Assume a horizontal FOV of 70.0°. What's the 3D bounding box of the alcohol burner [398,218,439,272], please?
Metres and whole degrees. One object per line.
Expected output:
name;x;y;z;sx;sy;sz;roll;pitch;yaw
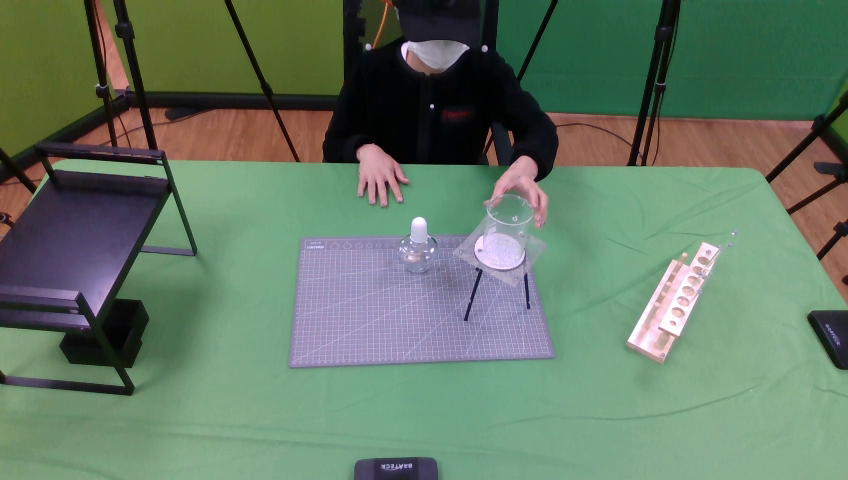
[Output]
alcohol burner;-0.010;0.004;1.124;0.078;0.120;0.077;1;47;0

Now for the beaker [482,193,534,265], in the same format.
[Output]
beaker;0.135;-0.016;0.979;0.073;0.101;0.084;35;52;28

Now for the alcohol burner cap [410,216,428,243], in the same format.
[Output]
alcohol burner cap;-0.009;-0.022;1.099;0.034;0.048;0.033;2;41;-1

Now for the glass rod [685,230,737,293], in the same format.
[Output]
glass rod;0.495;0.043;1.051;0.008;0.200;0.008;2;55;-2

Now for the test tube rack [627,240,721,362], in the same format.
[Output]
test tube rack;0.452;0.098;1.087;0.066;0.085;0.242;28;51;22

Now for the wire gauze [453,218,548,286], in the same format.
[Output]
wire gauze;0.129;0.014;1.018;0.124;0.011;0.121;26;47;25

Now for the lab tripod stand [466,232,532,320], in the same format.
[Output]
lab tripod stand;0.125;0.059;1.065;0.148;0.132;0.147;1;45;0

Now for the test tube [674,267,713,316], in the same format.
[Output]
test tube;0.445;0.098;1.017;0.017;0.151;0.017;4;48;-4
